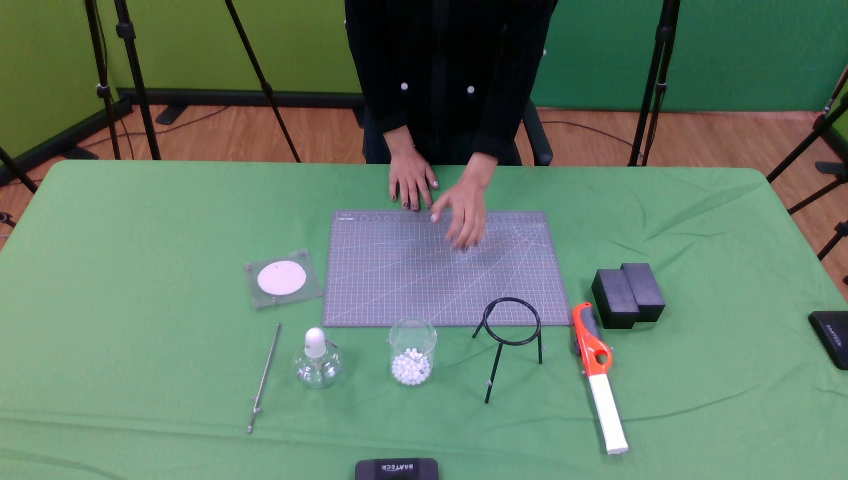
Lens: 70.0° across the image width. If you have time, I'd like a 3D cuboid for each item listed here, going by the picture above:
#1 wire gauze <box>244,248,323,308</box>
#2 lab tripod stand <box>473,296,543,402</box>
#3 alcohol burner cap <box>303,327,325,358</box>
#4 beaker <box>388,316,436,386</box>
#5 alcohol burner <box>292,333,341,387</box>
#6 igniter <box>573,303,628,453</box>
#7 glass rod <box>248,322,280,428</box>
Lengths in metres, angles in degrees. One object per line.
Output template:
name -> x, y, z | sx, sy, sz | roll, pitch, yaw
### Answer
wire gauze -> -0.262, 0.071, 1.121 | 0.125, 0.011, 0.120 | -11, 48, -17
lab tripod stand -> 0.132, 0.168, 0.969 | 0.148, 0.132, 0.147 | 3, 48, -3
alcohol burner cap -> -0.169, 0.154, 0.925 | 0.034, 0.048, 0.033 | 4, 41, -3
beaker -> -0.019, 0.183, 0.968 | 0.074, 0.101, 0.083 | -7, 48, -10
alcohol burner -> -0.170, 0.179, 0.950 | 0.078, 0.120, 0.077 | 2, 48, -2
igniter -> 0.288, 0.216, 1.006 | 0.057, 0.025, 0.274 | -9, 46, 8
glass rod -> -0.258, 0.213, 0.984 | 0.008, 0.008, 0.198 | 4, 46, 0
